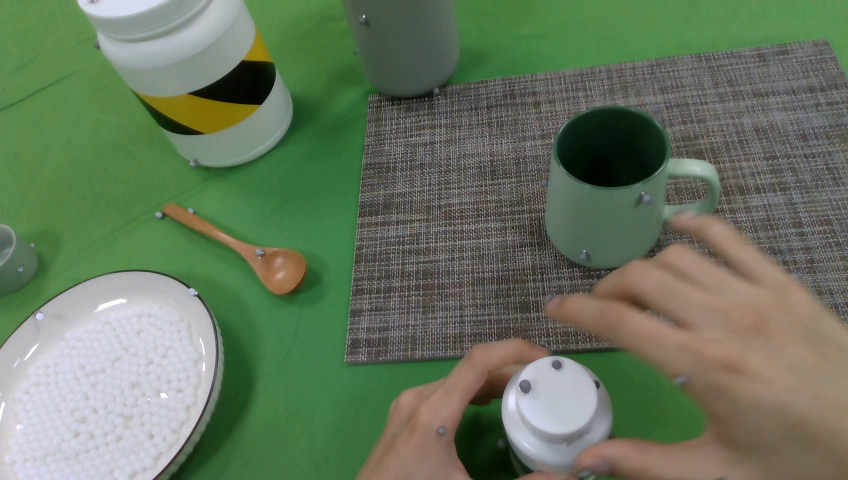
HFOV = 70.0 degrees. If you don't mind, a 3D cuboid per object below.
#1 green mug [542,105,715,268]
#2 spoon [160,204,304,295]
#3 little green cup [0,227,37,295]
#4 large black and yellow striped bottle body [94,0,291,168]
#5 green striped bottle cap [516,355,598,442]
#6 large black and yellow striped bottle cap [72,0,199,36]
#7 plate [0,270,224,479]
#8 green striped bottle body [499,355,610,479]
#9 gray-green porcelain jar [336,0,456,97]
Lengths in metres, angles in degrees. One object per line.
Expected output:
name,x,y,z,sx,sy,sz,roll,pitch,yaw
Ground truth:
green mug,0.153,-0.037,0.460,0.125,0.106,0.092,3,58,13
spoon,-0.181,0.000,0.556,0.192,0.022,0.041,25,85,23
little green cup,-0.407,0.022,0.577,0.061,0.039,0.061,-5,57,8
large black and yellow striped bottle body,-0.218,-0.171,0.574,0.130,0.186,0.129,-5,58,8
green striped bottle cap,0.072,0.086,0.331,0.044,0.020,0.044,-6,58,9
large black and yellow striped bottle cap,-0.234,-0.214,0.504,0.115,0.019,0.114,-5,56,7
plate,-0.256,0.122,0.485,0.209,0.038,0.207,-5,57,8
green striped bottle body,0.080,0.113,0.374,0.063,0.120,0.062,-5,58,9
gray-green porcelain jar,-0.025,-0.216,0.597,0.106,0.128,0.105,-5,53,7
